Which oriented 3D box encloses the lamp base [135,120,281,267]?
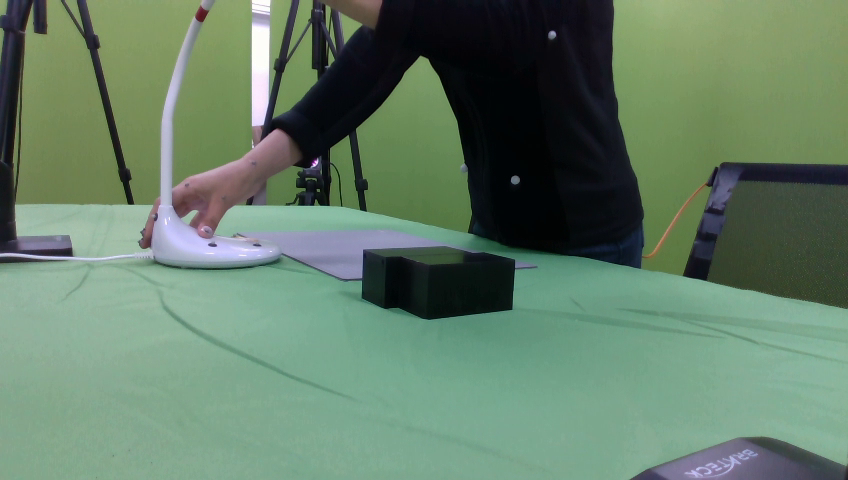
[{"bbox_3d":[-0.276,-0.061,0.774,0.160,0.180,0.180,9,12,44],"label":"lamp base"}]
